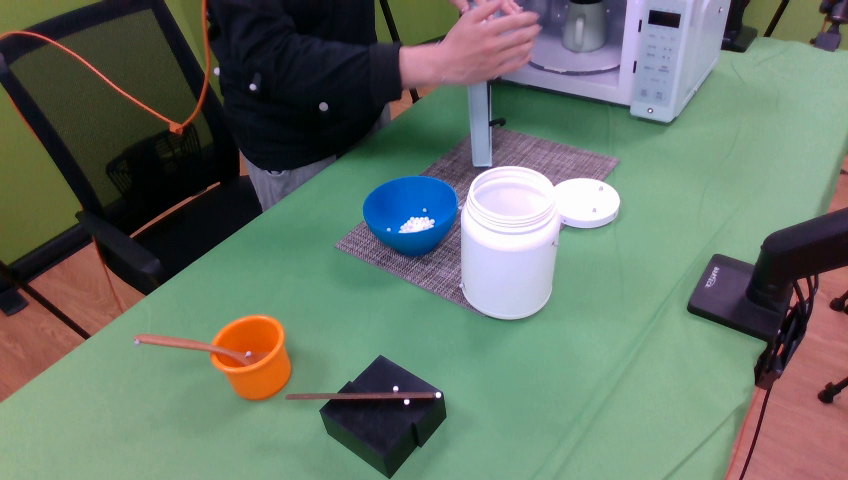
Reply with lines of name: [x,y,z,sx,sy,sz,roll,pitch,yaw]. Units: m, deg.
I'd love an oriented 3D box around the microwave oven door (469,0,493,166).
microwave oven door: [0.109,-0.340,1.154,0.039,0.245,0.354,-2,41,7]

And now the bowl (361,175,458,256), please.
bowl: [-0.019,-0.028,0.955,0.151,0.077,0.150,-4,40,4]

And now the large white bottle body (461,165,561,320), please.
large white bottle body: [0.115,0.004,0.816,0.130,0.185,0.130,-2,43,2]

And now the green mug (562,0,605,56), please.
green mug: [0.336,-0.450,1.292,0.092,0.105,0.125,6,50,22]

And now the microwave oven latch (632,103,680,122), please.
microwave oven latch: [0.443,-0.249,1.157,0.078,0.029,0.030,19,48,29]

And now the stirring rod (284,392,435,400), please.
stirring rod: [-0.075,0.180,0.698,0.176,0.006,0.014,-2,6,6]

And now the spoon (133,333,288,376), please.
spoon: [-0.257,0.137,0.747,0.021,0.195,0.041,-47,40,23]

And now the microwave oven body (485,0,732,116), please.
microwave oven body: [0.377,-0.462,1.267,0.438,0.261,0.327,21,48,30]

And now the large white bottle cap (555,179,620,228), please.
large white bottle cap: [0.265,-0.062,1.001,0.115,0.018,0.114,-3,41,4]
